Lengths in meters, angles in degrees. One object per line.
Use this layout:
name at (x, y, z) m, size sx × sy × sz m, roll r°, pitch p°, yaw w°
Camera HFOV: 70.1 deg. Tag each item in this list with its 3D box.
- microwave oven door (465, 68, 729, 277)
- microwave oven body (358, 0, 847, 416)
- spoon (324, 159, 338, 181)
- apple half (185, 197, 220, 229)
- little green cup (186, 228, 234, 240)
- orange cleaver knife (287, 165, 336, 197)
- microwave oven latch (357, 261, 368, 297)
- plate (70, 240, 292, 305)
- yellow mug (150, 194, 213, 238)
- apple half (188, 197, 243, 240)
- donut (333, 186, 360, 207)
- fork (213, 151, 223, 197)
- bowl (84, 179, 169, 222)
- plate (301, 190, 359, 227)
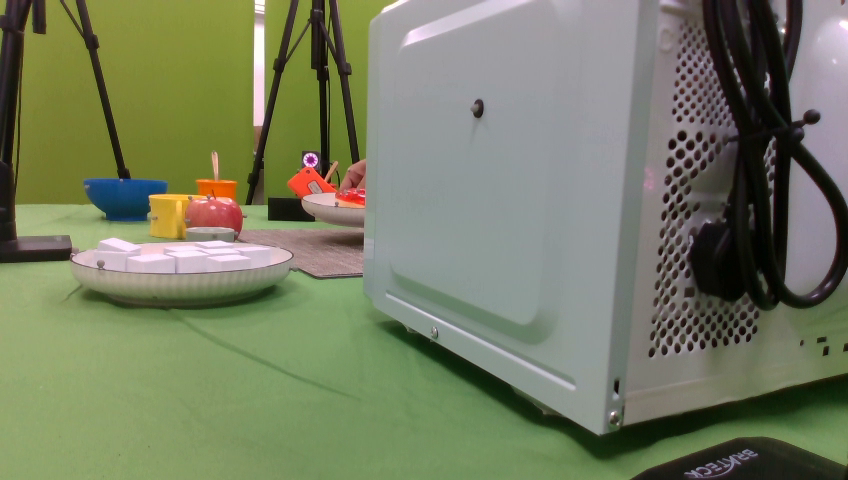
microwave oven door at (0.207, -0.096, 0.814) m, size 0.354 × 0.243 × 0.039 m, roll 9°, pitch 11°, yaw 42°
microwave oven body at (0.211, -0.047, 0.475) m, size 0.444 × 0.260 × 0.324 m, roll -1°, pitch 7°, yaw -28°
spoon at (-0.257, -0.147, 1.566) m, size 0.041 × 0.022 × 0.193 m, roll 1°, pitch 50°, yaw 19°
apple half at (-0.338, -0.031, 0.927) m, size 0.032 × 0.081 × 0.081 m, roll 12°, pitch 12°, yaw 31°
little green cup at (-0.284, 0.005, 0.805) m, size 0.061 × 0.038 × 0.061 m, roll 2°, pitch 8°, yaw 0°
orange cleaver knife at (-0.211, -0.093, 1.382) m, size 0.212 × 0.077 × 0.012 m, roll 33°, pitch 1°, yaw -15°
microwave oven latch at (-0.019, 0.033, 0.531) m, size 0.079 × 0.029 × 0.030 m, roll -1°, pitch 7°, yaw -27°
plate at (-0.242, 0.031, 0.618) m, size 0.208 × 0.039 × 0.207 m, roll 2°, pitch 8°, yaw 0°
yellow mug at (-0.401, -0.040, 1.003) m, size 0.100 × 0.064 × 0.130 m, roll -1°, pitch 9°, yaw -20°
apple half at (-0.305, -0.026, 0.907) m, size 0.053 × 0.074 × 0.081 m, roll 12°, pitch 8°, yaw 31°
donut at (-0.106, -0.065, 1.026) m, size 0.099 × 0.048 × 0.099 m, roll 6°, pitch 11°, yaw -1°
fork at (-0.494, -0.143, 1.442) m, size 0.028 × 0.018 × 0.206 m, roll -2°, pitch 52°, yaw -20°
bowl at (-0.584, -0.078, 1.194) m, size 0.151 × 0.077 × 0.151 m, roll 3°, pitch 8°, yaw 0°
plate at (-0.104, -0.054, 1.026) m, size 0.209 × 0.038 × 0.209 m, roll 3°, pitch 11°, yaw 0°
